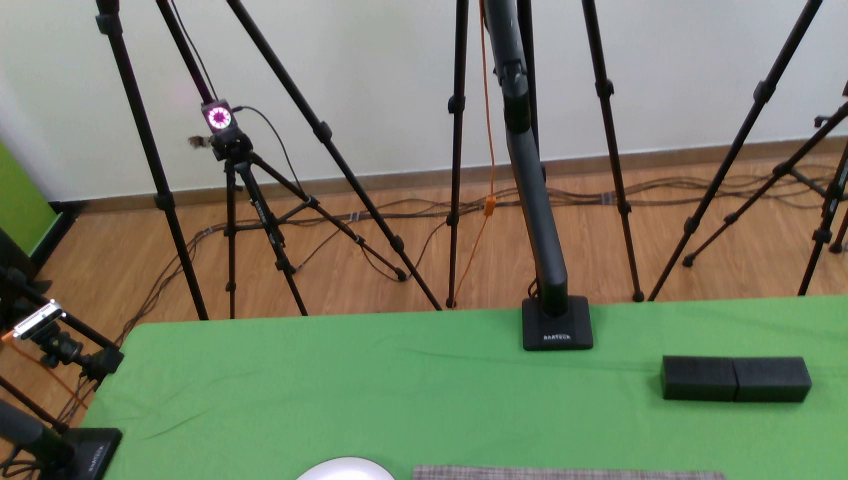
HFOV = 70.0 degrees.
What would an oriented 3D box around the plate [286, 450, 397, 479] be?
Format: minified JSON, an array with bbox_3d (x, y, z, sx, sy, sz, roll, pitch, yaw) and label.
[{"bbox_3d":[-0.127,0.411,0.880,0.207,0.039,0.205,-7,44,7],"label":"plate"}]
